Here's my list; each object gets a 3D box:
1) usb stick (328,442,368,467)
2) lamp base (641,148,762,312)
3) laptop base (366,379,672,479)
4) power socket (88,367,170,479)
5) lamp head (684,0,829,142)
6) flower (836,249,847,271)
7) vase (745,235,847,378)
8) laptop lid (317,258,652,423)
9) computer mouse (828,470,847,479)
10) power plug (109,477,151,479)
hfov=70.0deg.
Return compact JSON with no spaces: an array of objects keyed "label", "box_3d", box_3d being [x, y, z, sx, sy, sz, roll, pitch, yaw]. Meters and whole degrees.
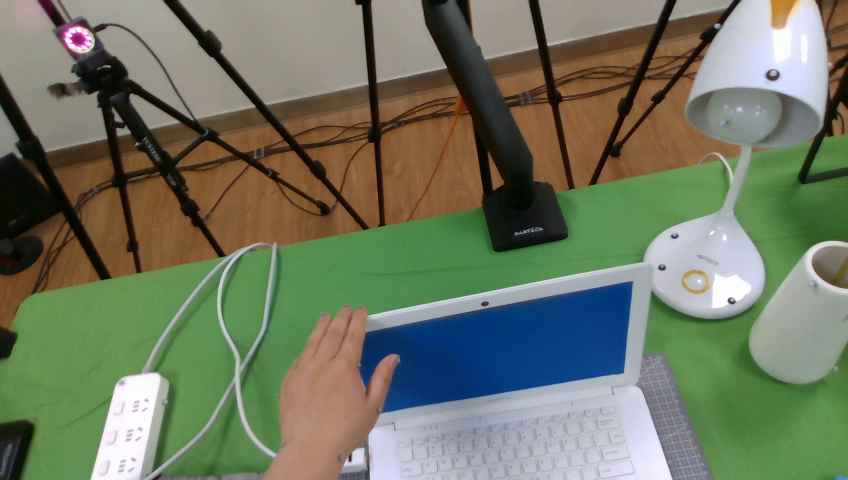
[{"label":"usb stick","box_3d":[-0.089,0.269,0.759,0.059,0.027,0.021,-6,50,1]},{"label":"lamp base","box_3d":[0.385,-0.023,0.805,0.159,0.182,0.178,18,56,23]},{"label":"laptop base","box_3d":[0.111,0.300,0.713,0.354,0.023,0.233,-10,55,3]},{"label":"power socket","box_3d":[-0.402,0.276,0.822,0.072,0.033,0.224,-8,51,5]},{"label":"lamp head","box_3d":[0.304,-0.161,0.543,0.112,0.113,0.122,15,75,21]},{"label":"flower","box_3d":[0.445,0.020,0.642,0.038,0.364,0.043,-11,40,-19]},{"label":"vase","box_3d":[0.443,0.080,0.702,0.098,0.202,0.097,-7,51,9]},{"label":"laptop lid","box_3d":[0.077,0.128,0.700,0.356,0.244,0.013,-12,46,4]},{"label":"computer mouse","box_3d":[0.450,0.299,0.636,0.062,0.041,0.117,25,57,30]},{"label":"power plug","box_3d":[-0.371,0.319,0.758,0.072,0.053,0.035,3,52,11]}]
